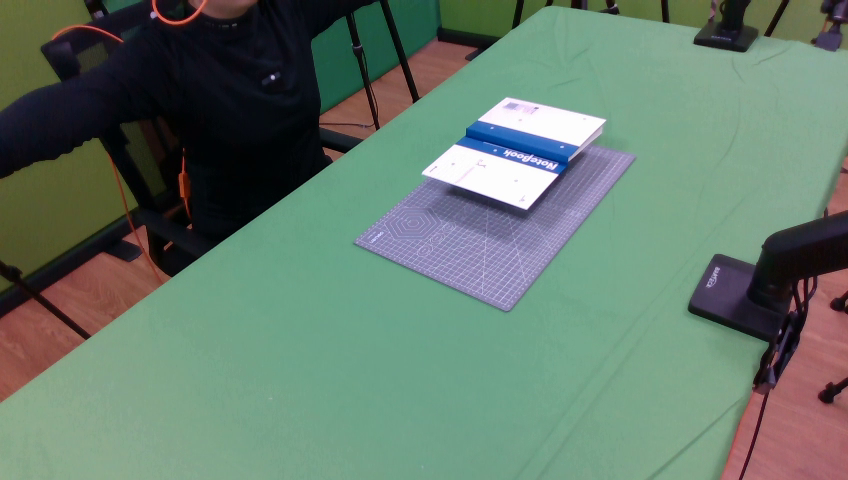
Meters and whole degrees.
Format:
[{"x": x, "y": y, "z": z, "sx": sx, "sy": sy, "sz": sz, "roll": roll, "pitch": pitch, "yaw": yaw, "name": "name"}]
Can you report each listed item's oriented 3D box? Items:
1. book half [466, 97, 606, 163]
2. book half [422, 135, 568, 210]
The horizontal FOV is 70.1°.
[{"x": 0.204, "y": -0.207, "z": 1.105, "sx": 0.208, "sy": 0.016, "sz": 0.149, "roll": 22, "pitch": 47, "yaw": 31, "name": "book half"}, {"x": 0.119, "y": -0.121, "z": 1.027, "sx": 0.208, "sy": 0.007, "sz": 0.143, "roll": 22, "pitch": 49, "yaw": 30, "name": "book half"}]
